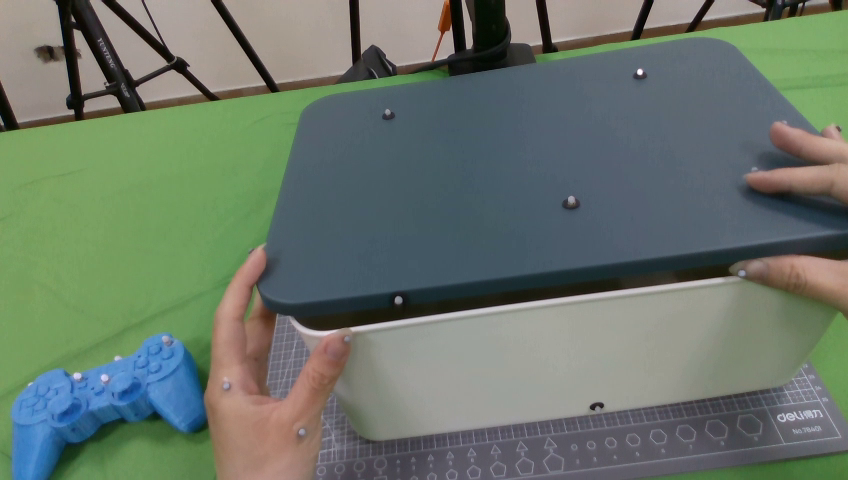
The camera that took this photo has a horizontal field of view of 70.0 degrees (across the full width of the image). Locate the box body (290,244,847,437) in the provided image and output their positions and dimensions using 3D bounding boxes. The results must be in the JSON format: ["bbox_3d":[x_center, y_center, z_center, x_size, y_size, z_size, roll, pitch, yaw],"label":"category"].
[{"bbox_3d":[0.098,-0.001,0.490,0.364,0.162,0.251,-8,45,2],"label":"box body"}]

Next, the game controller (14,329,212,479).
[{"bbox_3d":[-0.263,0.131,0.508,0.155,0.052,0.096,-18,42,-9],"label":"game controller"}]

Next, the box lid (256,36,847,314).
[{"bbox_3d":[0.075,-0.064,0.435,0.371,0.015,0.260,-8,40,5],"label":"box lid"}]
